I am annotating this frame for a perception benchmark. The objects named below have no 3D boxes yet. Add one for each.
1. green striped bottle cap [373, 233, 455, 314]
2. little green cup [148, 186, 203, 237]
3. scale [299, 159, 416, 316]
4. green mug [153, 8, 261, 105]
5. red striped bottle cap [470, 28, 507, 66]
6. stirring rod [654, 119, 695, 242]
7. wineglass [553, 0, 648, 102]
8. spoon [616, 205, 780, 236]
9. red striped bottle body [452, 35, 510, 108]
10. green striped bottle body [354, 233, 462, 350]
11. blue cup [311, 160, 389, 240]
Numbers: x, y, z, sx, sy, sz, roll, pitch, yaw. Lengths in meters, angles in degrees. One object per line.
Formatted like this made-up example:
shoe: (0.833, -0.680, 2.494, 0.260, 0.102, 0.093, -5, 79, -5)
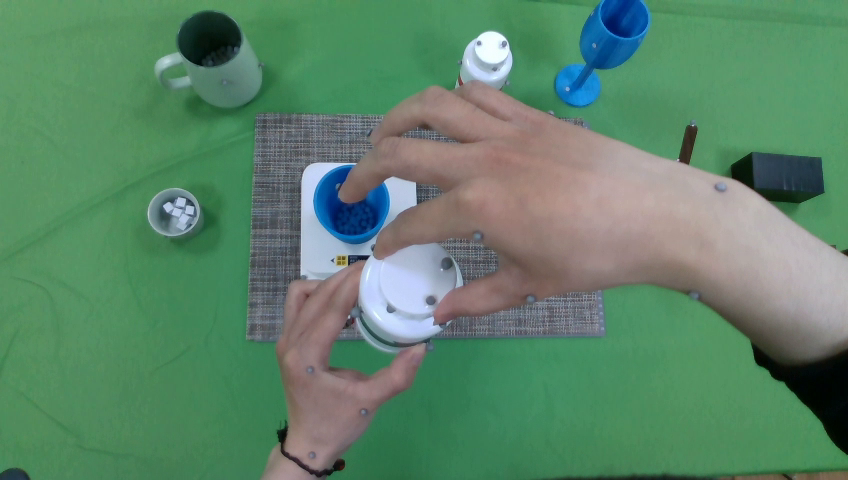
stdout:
green striped bottle cap: (-0.006, 0.018, 0.336, 0.044, 0.020, 0.044, 1, 82, -7)
little green cup: (-0.307, -0.033, 0.757, 0.061, 0.039, 0.061, 1, 78, -6)
scale: (-0.084, -0.006, 0.772, 0.149, 0.031, 0.200, -1, 79, -5)
green mug: (-0.276, -0.224, 0.766, 0.125, 0.105, 0.092, -22, 81, -9)
red striped bottle cap: (0.078, -0.235, 0.737, 0.044, 0.018, 0.044, 1, 75, -4)
stirring rod: (0.314, -0.070, 0.764, 0.014, 0.177, 0.006, 6, 37, 10)
wineglass: (0.221, -0.245, 0.779, 0.074, 0.173, 0.073, 1, 78, -4)
spoon: (0.334, -0.019, 0.756, 0.022, 0.192, 0.041, 19, 82, -45)
red striped bottle body: (0.074, -0.224, 0.789, 0.063, 0.120, 0.063, 1, 78, -5)
green striped bottle body: (-0.013, 0.035, 0.391, 0.063, 0.119, 0.063, 2, 74, -8)
blue cup: (-0.085, -0.038, 0.711, 0.093, 0.100, 0.092, 1, 80, -5)
